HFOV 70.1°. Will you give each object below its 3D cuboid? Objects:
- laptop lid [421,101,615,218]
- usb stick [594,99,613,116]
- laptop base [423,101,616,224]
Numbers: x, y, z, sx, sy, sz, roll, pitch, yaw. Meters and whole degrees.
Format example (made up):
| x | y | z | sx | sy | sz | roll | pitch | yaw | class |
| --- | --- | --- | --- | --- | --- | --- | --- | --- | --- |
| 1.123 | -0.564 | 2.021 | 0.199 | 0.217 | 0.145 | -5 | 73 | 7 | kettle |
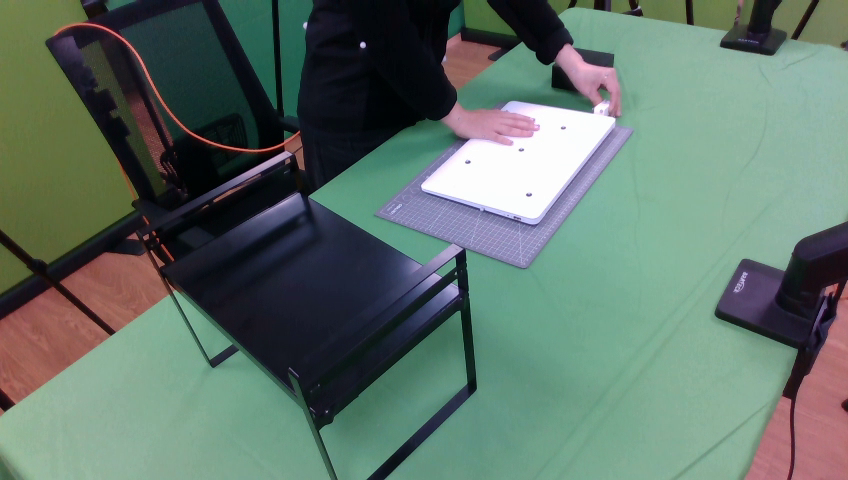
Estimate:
| x | y | z | sx | sy | sz | roll | pitch | yaw | class |
| --- | --- | --- | --- | --- | --- | --- | --- | --- | --- |
| 0.182 | -0.166 | 1.127 | 0.240 | 0.013 | 0.357 | 19 | 47 | 31 | laptop lid |
| 0.356 | -0.258 | 1.208 | 0.021 | 0.027 | 0.059 | 20 | 47 | 31 | usb stick |
| 0.185 | -0.157 | 1.133 | 0.234 | 0.023 | 0.355 | 17 | 46 | 30 | laptop base |
